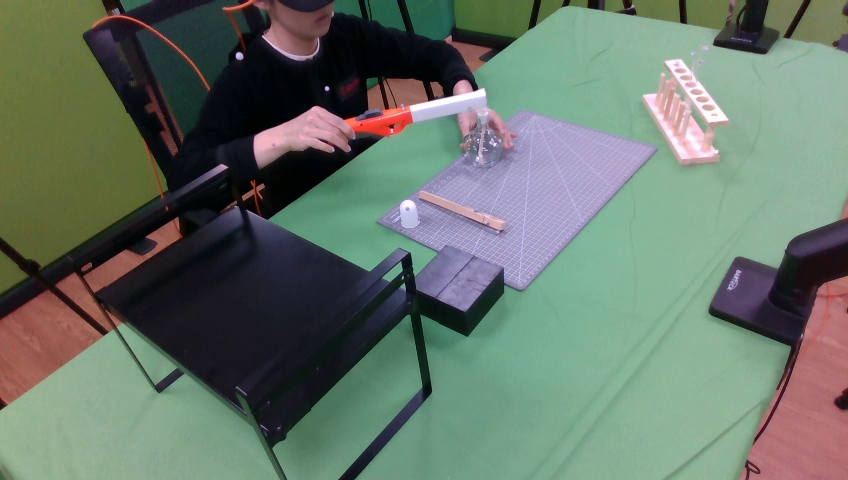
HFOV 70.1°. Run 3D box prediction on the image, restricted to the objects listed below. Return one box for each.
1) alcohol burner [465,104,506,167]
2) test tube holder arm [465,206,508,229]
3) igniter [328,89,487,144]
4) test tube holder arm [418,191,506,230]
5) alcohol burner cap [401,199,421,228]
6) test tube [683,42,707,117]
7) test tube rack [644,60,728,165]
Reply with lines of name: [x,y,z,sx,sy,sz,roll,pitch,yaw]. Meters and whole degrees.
alcohol burner: [0.112,-0.196,1.112,0.078,0.119,0.077,-5,39,5]
test tube holder arm: [0.100,-0.037,1.005,0.087,0.015,0.010,23,13,32]
igniter: [-0.030,-0.208,1.020,0.276,0.057,0.025,-13,51,2]
test tube holder arm: [0.061,-0.052,1.024,0.177,0.015,0.013,23,13,31]
alcohol burner cap: [-0.022,-0.047,1.014,0.034,0.048,0.033,-4,42,4]
test tube: [0.497,-0.292,1.114,0.017,0.151,0.017,-4,44,4]
test tube rack: [0.485,-0.246,1.139,0.067,0.085,0.241,-5,41,4]
